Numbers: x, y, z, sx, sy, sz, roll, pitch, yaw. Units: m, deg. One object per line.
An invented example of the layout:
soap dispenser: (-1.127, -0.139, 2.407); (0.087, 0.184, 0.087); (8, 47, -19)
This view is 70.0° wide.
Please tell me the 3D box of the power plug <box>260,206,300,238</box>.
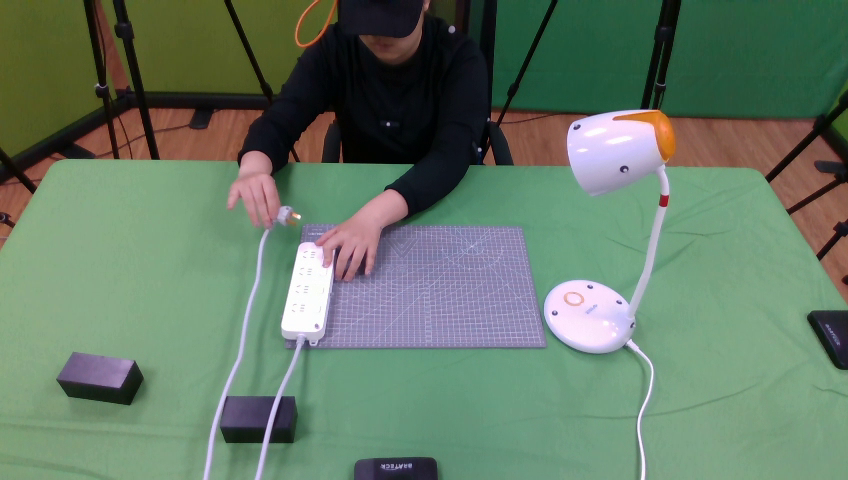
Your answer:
power plug: (-0.264, -0.029, 1.126); (0.052, 0.072, 0.035); (26, 11, 6)

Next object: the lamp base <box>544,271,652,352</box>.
lamp base: (0.309, 0.086, 1.029); (0.178, 0.181, 0.160); (32, 52, 21)

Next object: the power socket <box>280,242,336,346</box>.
power socket: (-0.206, 0.087, 1.086); (0.072, 0.033, 0.225); (3, 46, -1)

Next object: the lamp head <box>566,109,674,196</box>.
lamp head: (0.272, -0.123, 0.818); (0.122, 0.113, 0.112); (-9, 35, 37)
